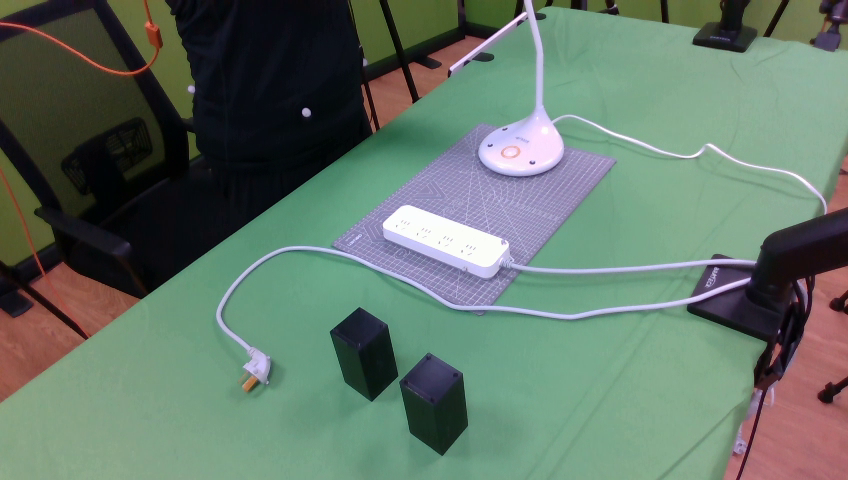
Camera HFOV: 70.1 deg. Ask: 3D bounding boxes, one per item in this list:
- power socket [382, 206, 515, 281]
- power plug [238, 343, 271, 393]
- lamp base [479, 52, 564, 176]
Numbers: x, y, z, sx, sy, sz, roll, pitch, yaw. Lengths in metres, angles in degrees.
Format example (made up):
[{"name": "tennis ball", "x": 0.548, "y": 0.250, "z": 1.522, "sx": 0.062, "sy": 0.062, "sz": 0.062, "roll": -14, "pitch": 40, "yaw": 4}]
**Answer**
[{"name": "power socket", "x": 0.032, "y": 0.002, "z": 0.950, "sx": 0.225, "sy": 0.033, "sz": 0.072, "roll": 21, "pitch": 49, "yaw": 29}, {"name": "power plug", "x": -0.230, "y": 0.172, "z": 0.801, "sx": 0.072, "sy": 0.035, "sz": 0.053, "roll": 9, "pitch": 51, "yaw": 50}, {"name": "lamp base", "x": 0.181, "y": -0.235, "z": 1.094, "sx": 0.159, "sy": 0.181, "sz": 0.179, "roll": 18, "pitch": 44, "yaw": 27}]
